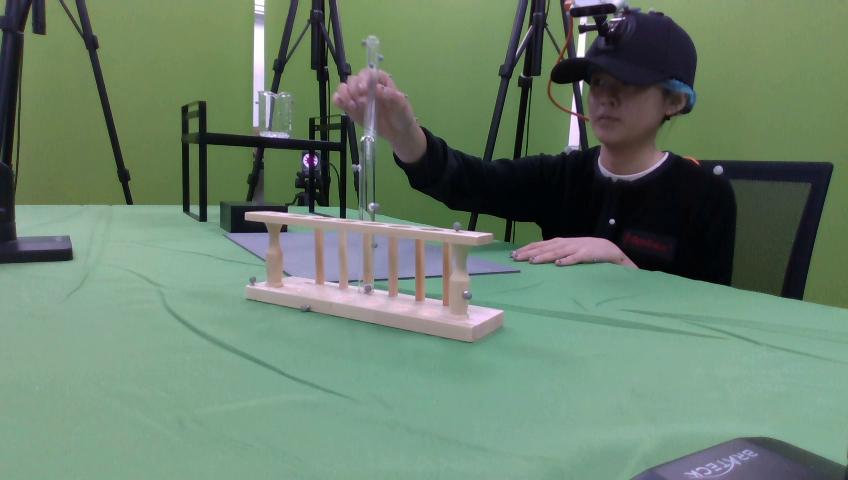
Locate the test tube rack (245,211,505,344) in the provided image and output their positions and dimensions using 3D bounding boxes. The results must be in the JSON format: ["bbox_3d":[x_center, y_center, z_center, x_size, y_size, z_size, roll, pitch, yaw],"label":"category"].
[{"bbox_3d":[-0.049,0.024,0.547,0.241,0.085,0.067,7,8,28],"label":"test tube rack"}]

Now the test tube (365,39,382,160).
[{"bbox_3d":[-0.061,-0.171,0.734,0.017,0.150,0.017,2,-5,0],"label":"test tube"}]

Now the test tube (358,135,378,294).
[{"bbox_3d":[-0.052,-0.022,0.565,0.017,0.150,0.017,2,7,0],"label":"test tube"}]

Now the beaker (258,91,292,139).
[{"bbox_3d":[-0.331,-0.276,1.343,0.074,0.100,0.083,0,8,-20],"label":"beaker"}]
